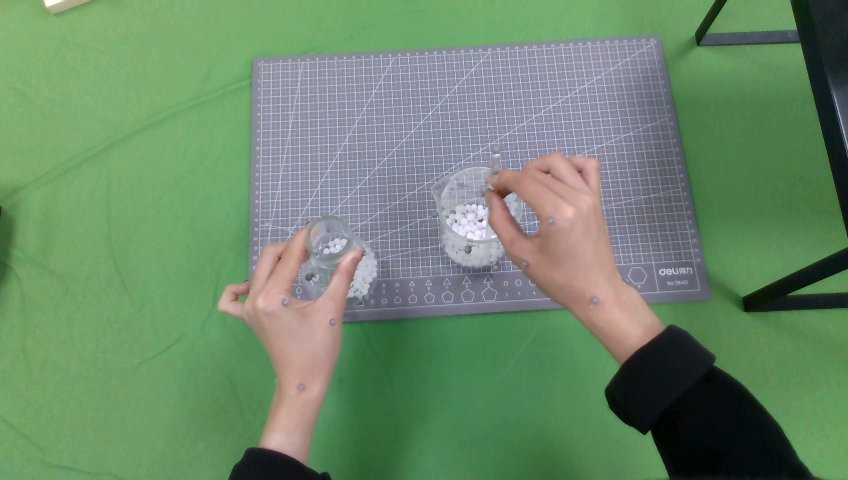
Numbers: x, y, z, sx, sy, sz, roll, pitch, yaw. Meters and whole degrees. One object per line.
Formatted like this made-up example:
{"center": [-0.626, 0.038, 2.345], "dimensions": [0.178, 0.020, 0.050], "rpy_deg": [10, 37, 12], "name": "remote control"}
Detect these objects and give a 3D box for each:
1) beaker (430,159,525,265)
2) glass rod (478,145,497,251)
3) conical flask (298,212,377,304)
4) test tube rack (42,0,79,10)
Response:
{"center": [0.046, -0.022, 0.562], "dimensions": [0.084, 0.101, 0.073], "rpy_deg": [20, 74, 8], "name": "beaker"}
{"center": [0.050, -0.027, 0.498], "dimensions": [0.008, 0.201, 0.008], "rpy_deg": [-1, 70, 3], "name": "glass rod"}
{"center": [-0.080, 0.011, 0.535], "dimensions": [0.075, 0.122, 0.075], "rpy_deg": [1, 74, -3], "name": "conical flask"}
{"center": [-0.330, -0.350, 0.671], "dimensions": [0.242, 0.085, 0.066], "rpy_deg": [-24, 74, -6], "name": "test tube rack"}
